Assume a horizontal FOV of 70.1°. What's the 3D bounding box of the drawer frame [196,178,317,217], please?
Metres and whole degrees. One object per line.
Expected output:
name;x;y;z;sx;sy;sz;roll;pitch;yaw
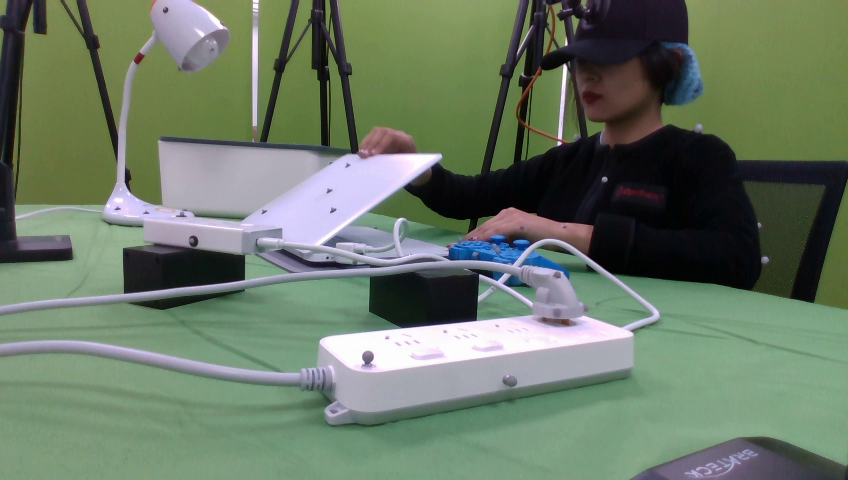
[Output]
drawer frame;-0.376;-0.101;1.393;0.213;0.082;0.202;1;8;6

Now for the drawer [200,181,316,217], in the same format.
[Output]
drawer;-0.372;-0.097;1.393;0.212;0.073;0.194;1;9;6

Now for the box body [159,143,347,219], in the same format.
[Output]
box body;-0.384;-0.137;1.406;0.364;0.160;0.254;3;8;7

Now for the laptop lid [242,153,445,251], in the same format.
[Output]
laptop lid;-0.142;-0.072;0.925;0.242;0.013;0.355;-36;23;-20

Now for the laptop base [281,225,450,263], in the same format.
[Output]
laptop base;-0.126;0.003;0.946;0.237;0.023;0.352;2;6;-31

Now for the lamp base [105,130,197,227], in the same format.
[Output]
lamp base;-0.532;-0.120;1.153;0.179;0.180;0.161;1;7;8

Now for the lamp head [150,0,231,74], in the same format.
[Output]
lamp head;-0.432;-0.374;1.086;0.123;0.112;0.112;42;8;-2

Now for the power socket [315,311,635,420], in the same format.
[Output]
power socket;0.039;0.072;0.385;0.228;0.032;0.072;-2;7;-29

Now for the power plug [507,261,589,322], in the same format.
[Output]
power plug;0.091;0.043;0.444;0.035;0.052;0.072;-1;5;-17

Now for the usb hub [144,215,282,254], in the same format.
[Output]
usb hub;-0.200;-0.006;0.573;0.125;0.025;0.050;6;7;23

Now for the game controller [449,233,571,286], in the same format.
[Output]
game controller;0.101;0.021;0.760;0.097;0.051;0.154;-7;10;-30

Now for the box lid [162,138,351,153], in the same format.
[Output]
box lid;-0.371;-0.215;1.394;0.371;0.015;0.263;4;8;7

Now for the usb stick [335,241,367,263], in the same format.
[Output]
usb stick;-0.094;0.014;0.742;0.021;0.027;0.059;-3;1;-35
